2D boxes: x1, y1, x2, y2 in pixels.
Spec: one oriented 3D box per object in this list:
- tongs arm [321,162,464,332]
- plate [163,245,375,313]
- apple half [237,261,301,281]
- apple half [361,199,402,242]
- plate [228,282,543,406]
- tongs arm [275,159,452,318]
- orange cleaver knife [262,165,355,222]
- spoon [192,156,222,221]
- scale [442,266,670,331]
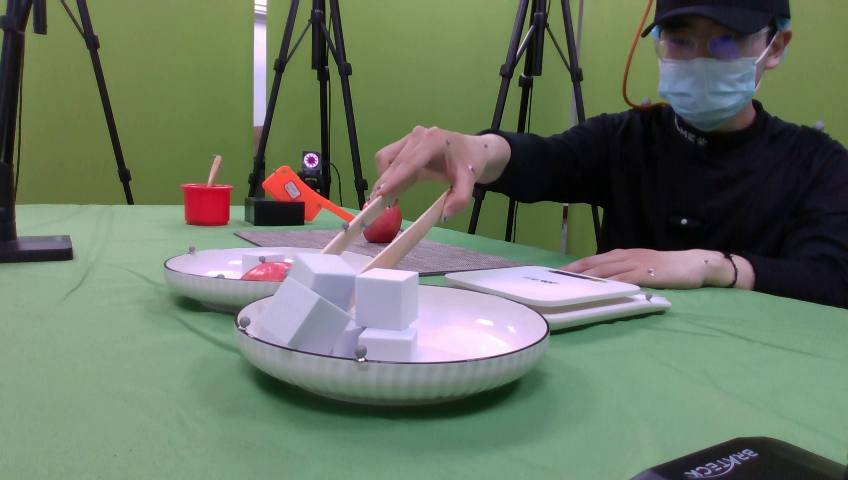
[{"bbox_3d":[-0.012,-0.014,0.579,0.028,0.028,0.388,12,24,13],"label":"tongs arm"},{"bbox_3d":[-0.145,0.038,0.600,0.209,0.038,0.209,2,8,0],"label":"plate"},{"bbox_3d":[-0.141,0.036,0.578,0.081,0.033,0.081,2,11,0],"label":"apple half"},{"bbox_3d":[-0.066,-0.032,1.014,0.053,0.074,0.081,9,6,21],"label":"apple half"},{"bbox_3d":[-0.025,0.067,0.413,0.208,0.039,0.207,3,7,0],"label":"plate"},{"bbox_3d":[-0.034,-0.021,0.584,0.051,0.026,0.385,14,24,8],"label":"tongs arm"},{"bbox_3d":[-0.243,-0.081,1.292,0.212,0.077,0.012,34,-8,-26],"label":"orange cleaver knife"},{"bbox_3d":[-0.430,-0.108,1.222,0.041,0.021,0.193,-2,52,1],"label":"spoon"},{"bbox_3d":[0.131,0.052,0.603,0.202,0.031,0.148,-2,9,-37],"label":"scale"}]
